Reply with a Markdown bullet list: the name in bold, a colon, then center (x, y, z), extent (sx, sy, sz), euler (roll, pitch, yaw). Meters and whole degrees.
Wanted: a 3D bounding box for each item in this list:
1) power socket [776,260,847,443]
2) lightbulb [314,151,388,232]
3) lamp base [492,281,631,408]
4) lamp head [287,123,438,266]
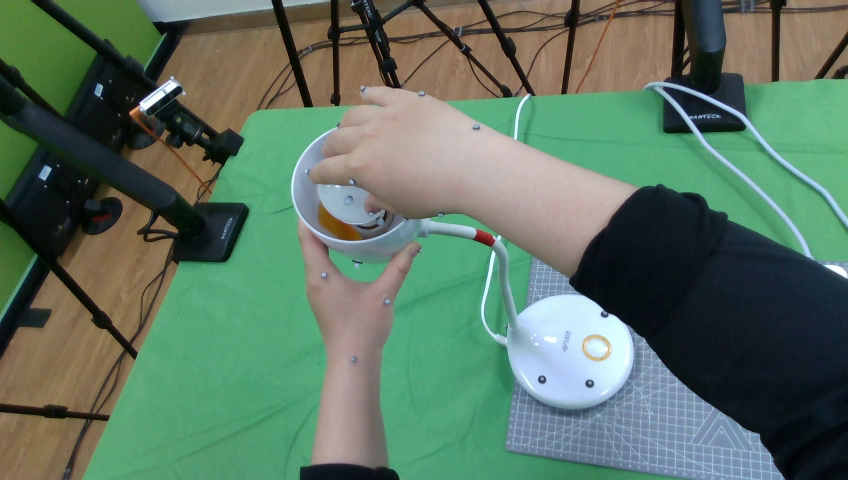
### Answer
- **power socket**: center (0.468, 0.122, 0.716), extent (0.072, 0.033, 0.225), euler (1, 58, 18)
- **lightbulb**: center (-0.055, -0.034, 0.512), extent (0.059, 0.108, 0.059), euler (-3, 70, 8)
- **lamp base**: center (0.155, 0.102, 0.739), extent (0.178, 0.182, 0.159), euler (-4, 57, 19)
- **lamp head**: center (-0.046, -0.026, 0.537), extent (0.112, 0.124, 0.111), euler (-4, 66, 10)
